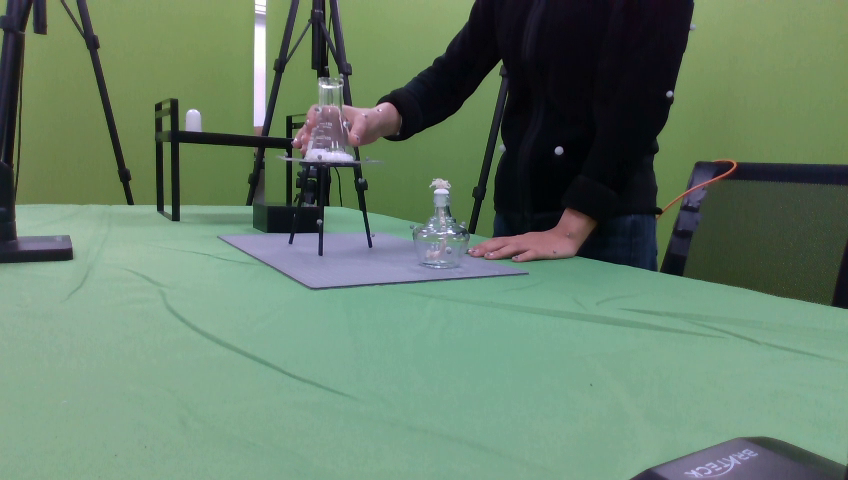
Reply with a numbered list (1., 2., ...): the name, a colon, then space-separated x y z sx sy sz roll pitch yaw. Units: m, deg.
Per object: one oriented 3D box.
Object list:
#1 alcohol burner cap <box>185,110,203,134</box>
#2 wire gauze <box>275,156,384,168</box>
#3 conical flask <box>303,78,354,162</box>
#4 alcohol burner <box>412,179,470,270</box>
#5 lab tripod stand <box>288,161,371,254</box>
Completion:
1. alcohol burner cap: -0.470 -0.242 1.234 0.034 0.048 0.034 3 7 0
2. wire gauze: -0.142 -0.116 0.900 0.122 0.011 0.124 -1 5 -37
3. conical flask: -0.140 -0.175 0.893 0.075 0.122 0.075 2 7 0
4. alcohol burner: 0.023 -0.021 0.805 0.078 0.119 0.078 0 8 0
5. lab tripod stand: -0.148 -0.052 0.909 0.148 0.131 0.148 1 8 0
